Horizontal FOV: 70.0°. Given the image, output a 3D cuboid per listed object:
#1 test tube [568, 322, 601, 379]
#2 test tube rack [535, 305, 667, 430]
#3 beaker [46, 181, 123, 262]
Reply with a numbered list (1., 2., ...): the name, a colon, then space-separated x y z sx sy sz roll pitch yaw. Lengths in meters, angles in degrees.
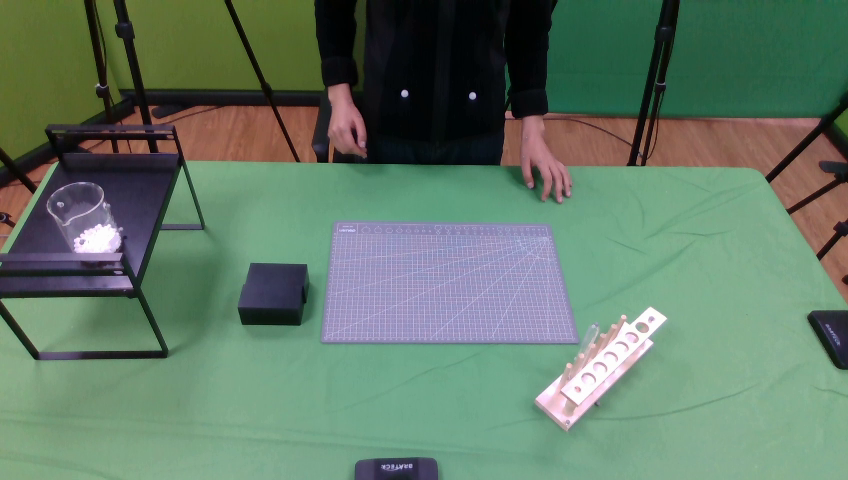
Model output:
1. test tube: 0.247 0.173 0.938 0.017 0.151 0.017 2 47 -2
2. test tube rack: 0.290 0.193 0.984 0.242 0.085 0.066 -32 56 -30
3. beaker: -0.487 -0.021 0.877 0.074 0.101 0.083 3 47 0
